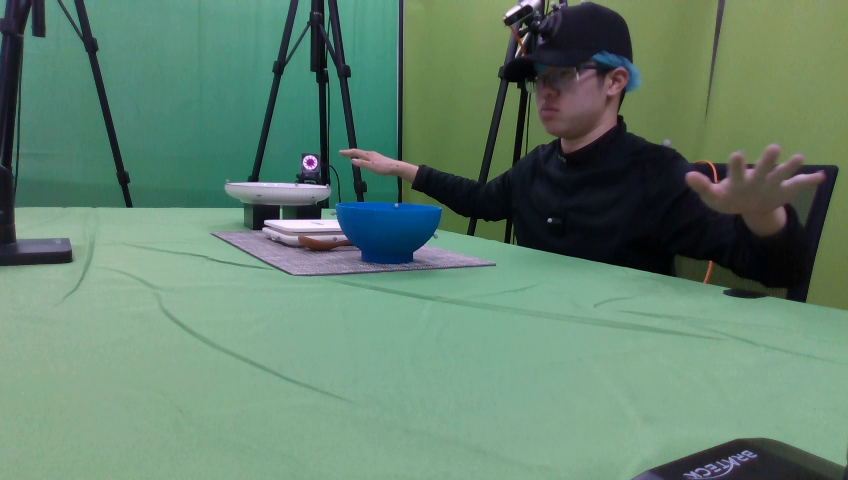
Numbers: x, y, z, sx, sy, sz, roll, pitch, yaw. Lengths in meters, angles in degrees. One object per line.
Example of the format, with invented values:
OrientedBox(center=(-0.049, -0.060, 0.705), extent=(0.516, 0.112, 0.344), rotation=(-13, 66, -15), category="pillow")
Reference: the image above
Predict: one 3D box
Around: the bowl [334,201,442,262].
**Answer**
OrientedBox(center=(-0.051, -0.012, 0.848), extent=(0.151, 0.077, 0.151), rotation=(2, 7, 0), category="bowl")

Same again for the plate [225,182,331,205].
OrientedBox(center=(-0.294, -0.096, 1.229), extent=(0.209, 0.038, 0.209), rotation=(3, 7, 0), category="plate")

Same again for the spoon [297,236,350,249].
OrientedBox(center=(-0.103, 0.002, 0.943), extent=(0.195, 0.021, 0.041), rotation=(-2, -6, -30), category="spoon")

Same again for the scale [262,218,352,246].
OrientedBox(center=(-0.160, -0.016, 1.028), extent=(0.202, 0.031, 0.148), rotation=(-2, 9, -32), category="scale")
